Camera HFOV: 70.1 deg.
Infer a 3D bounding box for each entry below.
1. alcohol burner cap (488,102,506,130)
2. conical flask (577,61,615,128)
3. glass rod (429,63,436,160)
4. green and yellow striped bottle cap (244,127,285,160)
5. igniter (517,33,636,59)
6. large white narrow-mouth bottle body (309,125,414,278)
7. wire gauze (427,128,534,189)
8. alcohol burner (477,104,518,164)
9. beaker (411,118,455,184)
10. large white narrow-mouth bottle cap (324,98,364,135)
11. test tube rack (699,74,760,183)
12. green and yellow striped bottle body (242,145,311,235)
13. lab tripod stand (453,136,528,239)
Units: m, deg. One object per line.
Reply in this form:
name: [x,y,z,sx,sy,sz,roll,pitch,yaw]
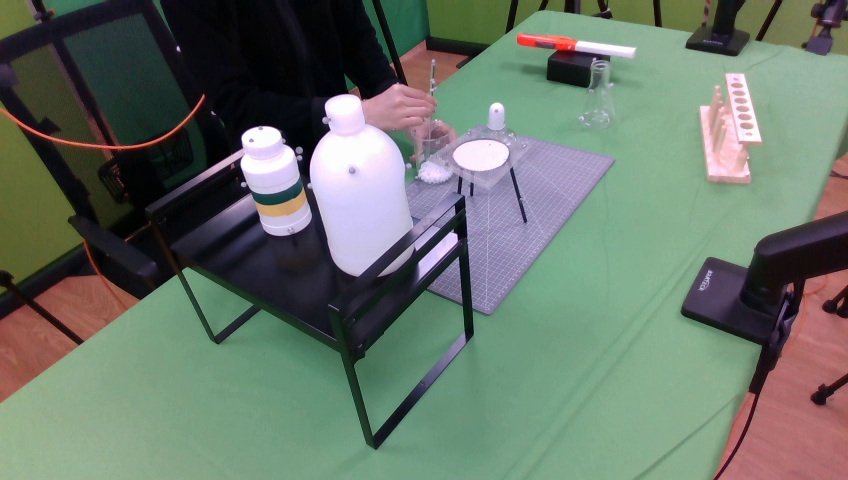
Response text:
alcohol burner cap: [0.133,-0.227,1.092,0.034,0.048,0.033,-1,47,2]
conical flask: [0.343,-0.288,1.188,0.075,0.122,0.075,-4,41,4]
glass rod: [0.015,-0.220,1.066,0.008,0.200,0.008,1,45,-1]
green and yellow striped bottle cap: [-0.183,-0.111,0.694,0.045,0.020,0.045,-1,42,1]
igniter: [0.336,-0.441,1.369,0.275,0.025,0.057,16,41,23]
large white narrow-mouth bottle body: [-0.068,-0.057,0.644,0.102,0.195,0.101,-4,42,4]
wire gauze: [0.086,-0.131,0.924,0.124,0.011,0.122,26,52,33]
alcohol burner: [0.135,-0.200,1.117,0.078,0.119,0.077,-4,43,4]
beaker: [0.020,-0.161,1.099,0.073,0.101,0.084,14,44,22]
large white narrow-mouth bottle cap: [-0.077,-0.120,0.585,0.038,0.024,0.037,-3,42,4]
test tube rack: [0.547,-0.208,1.095,0.066,0.085,0.242,6,42,16]
green and yellow striped bottle body: [-0.179,-0.069,0.730,0.063,0.120,0.063,-4,41,4]
lab tripod stand: [0.094,-0.086,0.974,0.148,0.132,0.147,-4,43,4]
